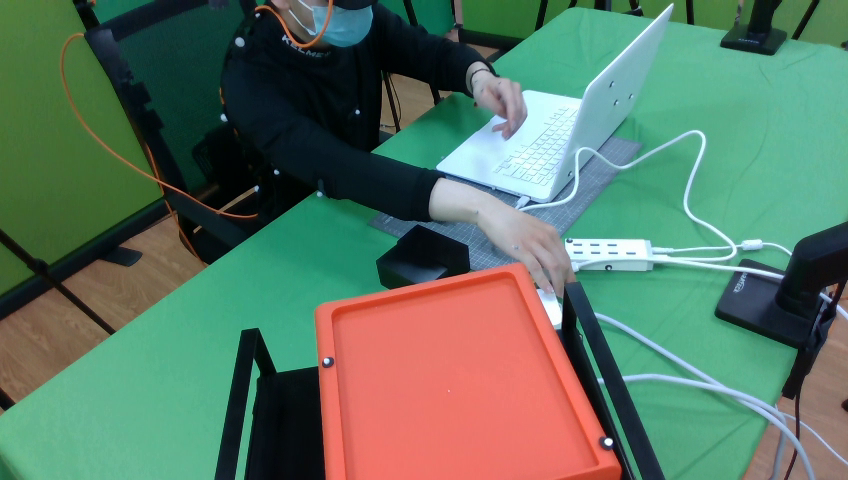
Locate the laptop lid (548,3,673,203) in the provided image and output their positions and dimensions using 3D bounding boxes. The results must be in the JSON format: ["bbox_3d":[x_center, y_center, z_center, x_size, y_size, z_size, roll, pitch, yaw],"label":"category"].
[{"bbox_3d":[0.320,-0.235,1.026,0.013,0.242,0.357,31,50,20],"label":"laptop lid"}]

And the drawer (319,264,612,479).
[{"bbox_3d":[0.020,0.129,0.497,0.195,0.073,0.210,-11,41,-5],"label":"drawer"}]

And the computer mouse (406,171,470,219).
[{"bbox_3d":[0.024,-0.082,1.049,0.063,0.041,0.116,-29,50,-28],"label":"computer mouse"}]

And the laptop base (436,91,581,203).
[{"bbox_3d":[0.214,-0.192,1.172,0.233,0.023,0.355,19,46,32],"label":"laptop base"}]

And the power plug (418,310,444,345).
[{"bbox_3d":[0.007,0.122,0.785,0.035,0.053,0.072,0,39,7],"label":"power plug"}]

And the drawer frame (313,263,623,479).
[{"bbox_3d":[0.021,0.130,0.493,0.202,0.083,0.212,-11,41,-6],"label":"drawer frame"}]

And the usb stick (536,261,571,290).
[{"bbox_3d":[0.182,0.056,0.876,0.059,0.027,0.021,-30,71,-4],"label":"usb stick"}]

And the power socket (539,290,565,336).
[{"bbox_3d":[0.081,0.112,0.822,0.227,0.033,0.072,-7,41,0],"label":"power socket"}]

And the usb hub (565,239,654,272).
[{"bbox_3d":[0.275,0.022,0.906,0.125,0.025,0.049,1,41,9],"label":"usb hub"}]
